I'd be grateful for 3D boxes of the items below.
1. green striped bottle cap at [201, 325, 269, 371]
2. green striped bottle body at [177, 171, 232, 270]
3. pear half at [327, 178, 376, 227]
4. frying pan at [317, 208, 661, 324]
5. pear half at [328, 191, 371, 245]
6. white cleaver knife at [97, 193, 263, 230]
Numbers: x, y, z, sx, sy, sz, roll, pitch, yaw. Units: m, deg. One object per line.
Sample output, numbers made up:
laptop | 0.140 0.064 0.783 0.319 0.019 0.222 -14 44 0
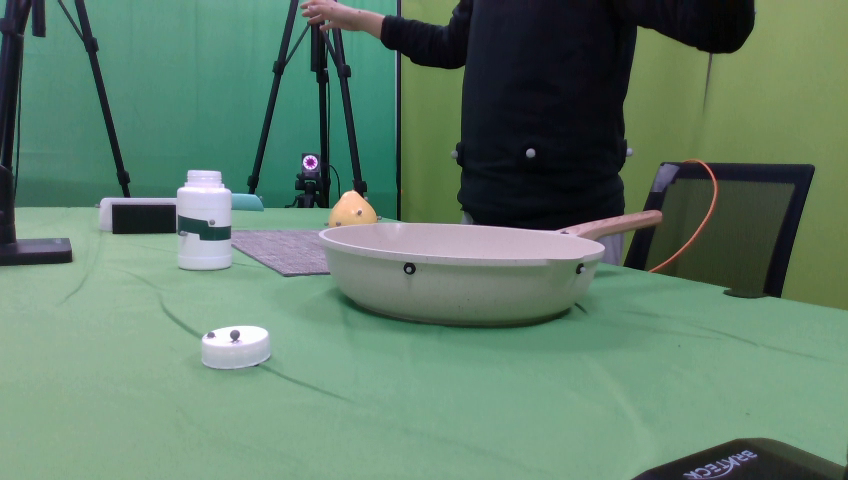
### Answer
green striped bottle cap | -0.129 0.073 0.415 0.044 0.020 0.044 2 8 0
green striped bottle body | -0.273 -0.026 0.752 0.063 0.119 0.063 2 7 0
pear half | -0.110 -0.042 0.942 0.077 0.110 0.055 -7 10 -25
frying pan | 0.121 0.006 0.691 0.490 0.102 0.305 -13 15 -33
pear half | -0.124 -0.037 0.976 0.071 0.088 0.031 -6 11 -26
white cleaver knife | -0.444 -0.053 1.121 0.288 0.066 0.021 -4 16 -27
